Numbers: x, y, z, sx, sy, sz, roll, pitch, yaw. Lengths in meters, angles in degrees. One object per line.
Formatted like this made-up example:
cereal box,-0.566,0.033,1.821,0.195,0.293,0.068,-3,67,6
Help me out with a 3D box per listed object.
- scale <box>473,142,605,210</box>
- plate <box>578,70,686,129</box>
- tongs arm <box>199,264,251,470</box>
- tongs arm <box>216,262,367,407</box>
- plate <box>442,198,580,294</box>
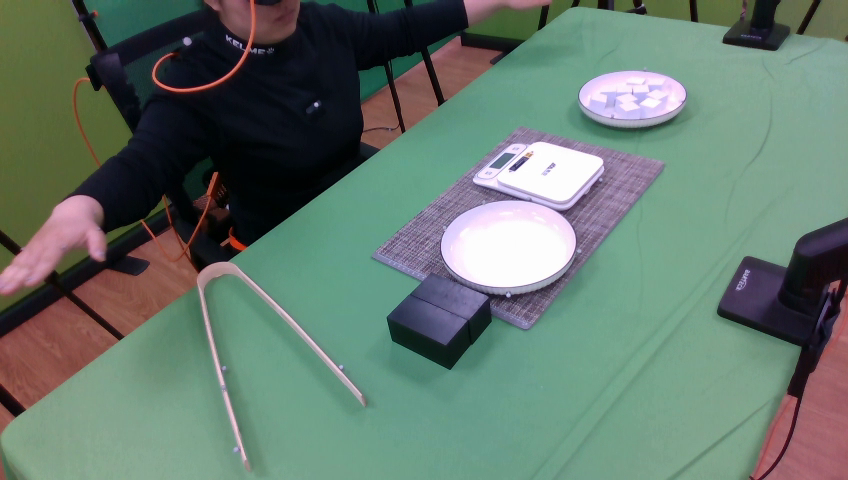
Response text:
scale,0.202,-0.121,1.074,0.199,0.032,0.149,23,49,33
plate,0.416,-0.280,1.221,0.209,0.038,0.208,-5,41,5
tongs arm,-0.270,0.154,0.840,0.051,0.026,0.381,-23,41,-17
tongs arm,-0.200,0.122,0.871,0.028,0.028,0.384,-36,46,-24
plate,0.132,0.012,0.925,0.207,0.039,0.206,-5,40,5
